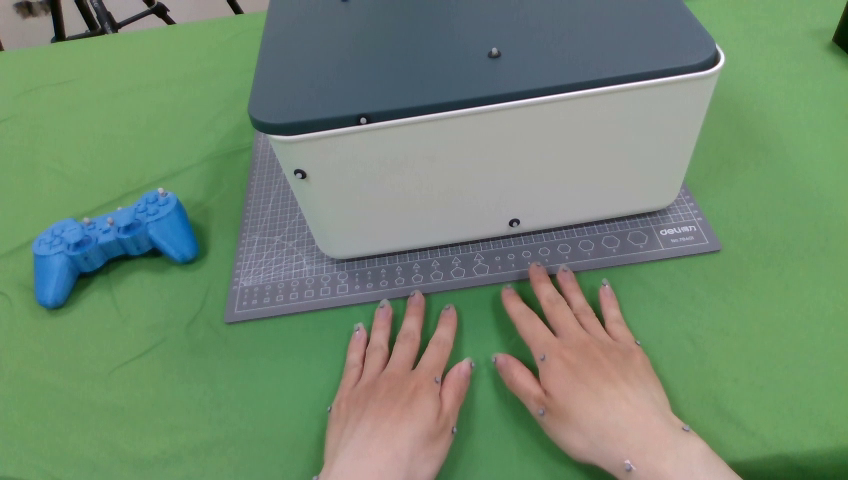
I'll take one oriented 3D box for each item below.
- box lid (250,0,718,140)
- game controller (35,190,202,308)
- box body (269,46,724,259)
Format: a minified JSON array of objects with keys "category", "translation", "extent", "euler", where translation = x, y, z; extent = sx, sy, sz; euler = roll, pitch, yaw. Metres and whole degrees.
[{"category":"box lid","translation":[0.033,-0.195,0.542],"extent":[0.371,0.015,0.260],"euler":[-9,45,1]},{"category":"game controller","translation":[-0.308,0.000,0.605],"extent":[0.155,0.052,0.096],"euler":[-19,44,-10]},{"category":"box body","translation":[0.052,-0.137,0.593],"extent":[0.364,0.162,0.251],"euler":[-9,46,0]}]
